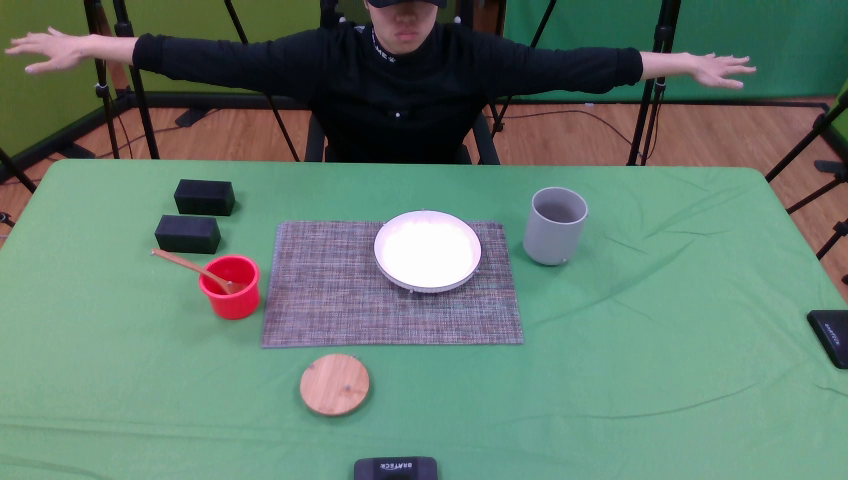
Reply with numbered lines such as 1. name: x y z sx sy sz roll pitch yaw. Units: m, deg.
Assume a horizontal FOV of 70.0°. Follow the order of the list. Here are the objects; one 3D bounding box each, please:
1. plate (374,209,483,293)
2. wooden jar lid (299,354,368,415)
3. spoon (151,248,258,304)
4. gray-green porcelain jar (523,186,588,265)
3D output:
1. plate: 0.008 0.024 1.158 0.208 0.039 0.206 2 46 -2
2. wooden jar lid: -0.143 0.232 0.964 0.108 0.021 0.107 2 45 -2
3. spoon: -0.369 0.058 1.028 0.195 0.021 0.041 36 35 -32
4. gray-green porcelain jar: 0.249 -0.023 1.164 0.106 0.127 0.105 2 46 -2
